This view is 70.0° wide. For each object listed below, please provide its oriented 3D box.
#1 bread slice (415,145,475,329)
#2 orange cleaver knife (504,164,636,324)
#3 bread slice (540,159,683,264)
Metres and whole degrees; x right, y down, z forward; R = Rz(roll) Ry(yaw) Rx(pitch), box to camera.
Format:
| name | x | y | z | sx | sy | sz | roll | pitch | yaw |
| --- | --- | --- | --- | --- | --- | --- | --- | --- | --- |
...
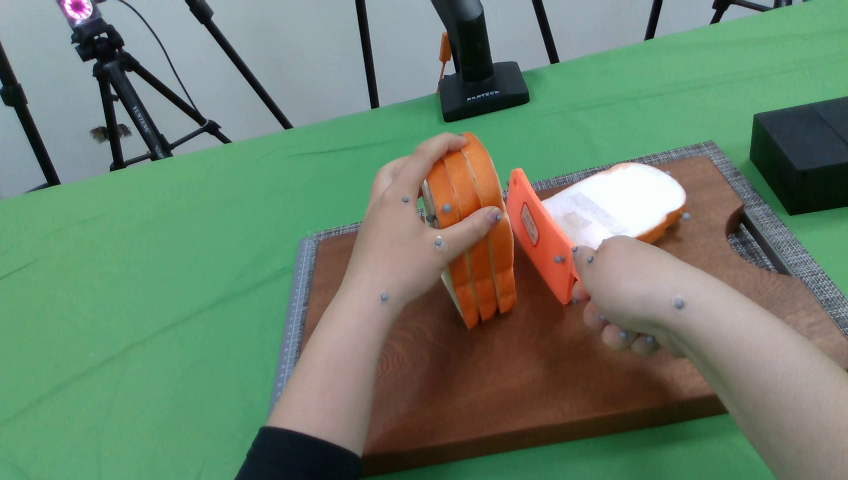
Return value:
| name | x | y | z | sx | sy | sz | roll | pitch | yaw |
| --- | --- | --- | --- | --- | --- | --- | --- | --- | --- |
| bread slice | 0.016 | -0.011 | 0.498 | 0.018 | 0.135 | 0.106 | -15 | 36 | -3 |
| orange cleaver knife | 0.104 | 0.010 | 0.479 | 0.012 | 0.078 | 0.209 | -12 | 35 | -10 |
| bread slice | 0.162 | -0.026 | 0.540 | 0.131 | 0.019 | 0.103 | -28 | 38 | -6 |
